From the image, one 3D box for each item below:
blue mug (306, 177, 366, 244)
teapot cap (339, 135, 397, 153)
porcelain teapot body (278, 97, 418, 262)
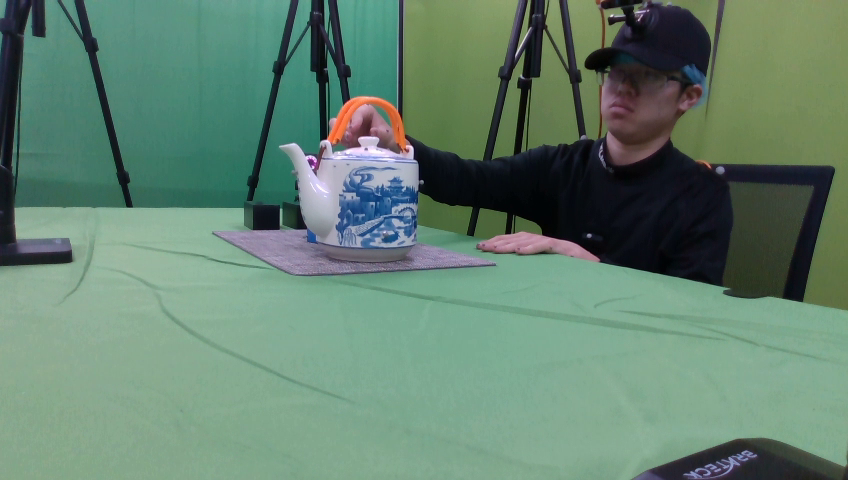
[{"bbox_3d":[-0.144,-0.052,1.027,0.082,0.106,0.117,9,10,42],"label":"blue mug"},{"bbox_3d":[-0.080,-0.127,0.854,0.085,0.044,0.085,-1,6,0],"label":"teapot cap"},{"bbox_3d":[-0.104,-0.086,0.842,0.206,0.225,0.144,-4,10,-38],"label":"porcelain teapot body"}]
